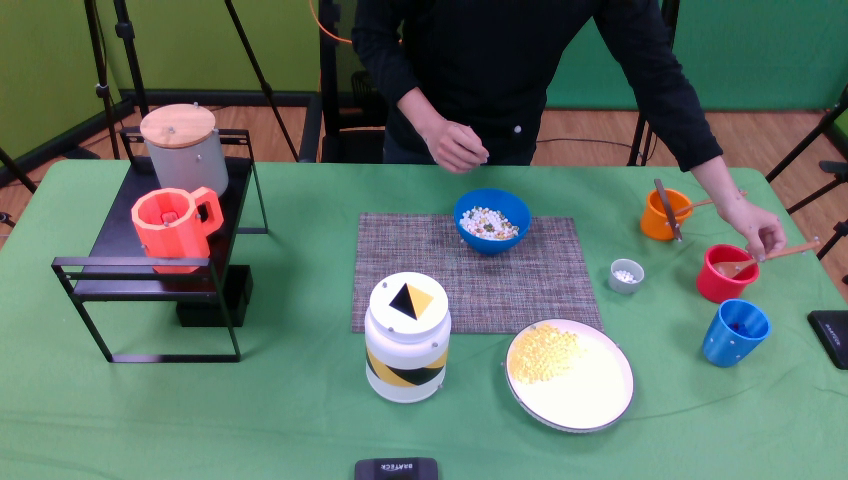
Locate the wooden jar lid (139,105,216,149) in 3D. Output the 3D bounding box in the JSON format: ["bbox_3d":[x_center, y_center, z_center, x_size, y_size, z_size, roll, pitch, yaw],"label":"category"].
[{"bbox_3d":[-0.372,-0.169,0.920,0.108,0.021,0.107,4,44,-4],"label":"wooden jar lid"}]

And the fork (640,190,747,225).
[{"bbox_3d":[0.533,-0.064,1.211,0.207,0.019,0.028,-22,28,38],"label":"fork"}]

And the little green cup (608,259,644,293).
[{"bbox_3d":[0.379,0.070,1.147,0.061,0.039,0.061,3,45,-2],"label":"little green cup"}]

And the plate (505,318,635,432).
[{"bbox_3d":[0.235,0.221,0.991,0.209,0.038,0.208,2,46,-2],"label":"plate"}]

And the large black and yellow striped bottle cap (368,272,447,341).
[{"bbox_3d":[-0.023,0.093,0.875,0.115,0.019,0.114,3,46,-3],"label":"large black and yellow striped bottle cap"}]

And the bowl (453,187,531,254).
[{"bbox_3d":[0.128,-0.026,1.187,0.151,0.077,0.150,2,46,-2],"label":"bowl"}]

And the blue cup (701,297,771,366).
[{"bbox_3d":[0.519,0.162,1.025,0.093,0.101,0.092,3,45,-3],"label":"blue cup"}]

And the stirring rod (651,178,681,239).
[{"bbox_3d":[0.480,-0.065,1.203,0.014,0.006,0.175,4,46,-3],"label":"stirring rod"}]

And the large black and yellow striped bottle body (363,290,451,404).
[{"bbox_3d":[-0.027,0.153,0.935,0.131,0.185,0.130,2,46,-2],"label":"large black and yellow striped bottle body"}]

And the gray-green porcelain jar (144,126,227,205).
[{"bbox_3d":[-0.375,-0.126,0.967,0.106,0.127,0.105,2,46,-2],"label":"gray-green porcelain jar"}]

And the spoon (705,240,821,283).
[{"bbox_3d":[0.605,0.036,1.090,0.022,0.193,0.041,31,48,-36],"label":"spoon"}]

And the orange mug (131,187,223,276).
[{"bbox_3d":[-0.354,-0.022,0.888,0.083,0.101,0.126,31,55,24],"label":"orange mug"}]
